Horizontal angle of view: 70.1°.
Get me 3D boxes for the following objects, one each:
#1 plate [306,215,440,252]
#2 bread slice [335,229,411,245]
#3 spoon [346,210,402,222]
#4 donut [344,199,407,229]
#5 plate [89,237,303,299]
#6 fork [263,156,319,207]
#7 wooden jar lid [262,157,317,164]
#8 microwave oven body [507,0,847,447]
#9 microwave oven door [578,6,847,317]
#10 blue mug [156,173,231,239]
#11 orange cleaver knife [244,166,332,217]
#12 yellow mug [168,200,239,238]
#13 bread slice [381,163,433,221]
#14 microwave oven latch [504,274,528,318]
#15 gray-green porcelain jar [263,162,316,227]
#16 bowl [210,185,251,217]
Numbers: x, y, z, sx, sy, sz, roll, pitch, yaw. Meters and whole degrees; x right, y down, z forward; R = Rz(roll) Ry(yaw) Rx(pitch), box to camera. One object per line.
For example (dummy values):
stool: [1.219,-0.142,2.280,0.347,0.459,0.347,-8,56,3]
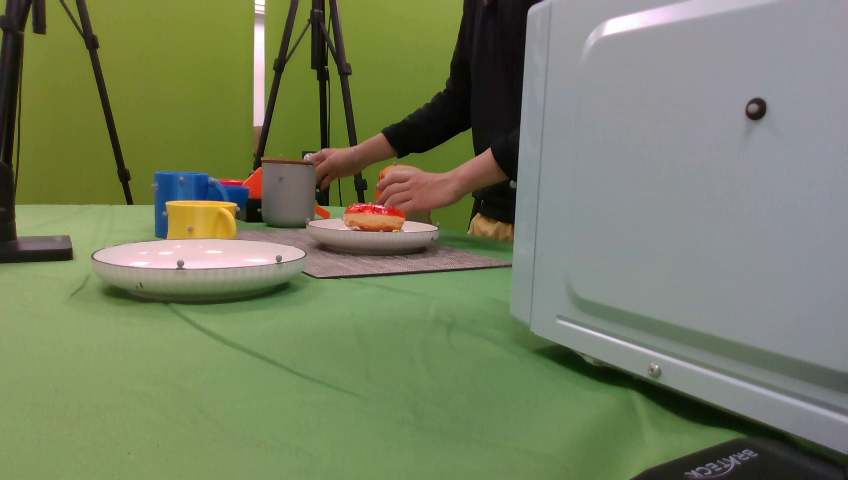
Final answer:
plate: [-0.079,-0.011,0.950,0.209,0.038,0.209,2,8,0]
bread slice: [-0.074,-0.005,0.938,0.105,0.019,0.131,-1,4,-19]
spoon: [-0.120,-0.059,1.400,0.042,0.021,0.192,-28,25,-38]
donut: [-0.076,-0.039,0.949,0.099,0.048,0.099,3,4,0]
plate: [-0.233,0.029,0.637,0.208,0.039,0.207,2,7,0]
fork: [-0.331,-0.144,1.505,0.207,0.018,0.028,-42,-21,22]
wooden jar lid: [-0.269,-0.154,1.208,0.108,0.020,0.108,3,4,0]
microwave oven body: [0.331,-0.042,0.425,0.444,0.260,0.324,-2,8,-31]
microwave oven door: [0.294,-0.067,0.570,0.358,0.243,0.039,-3,9,-31]
blue mug: [-0.381,-0.057,1.004,0.117,0.106,0.082,0,8,-12]
orange cleaver knife: [-0.301,-0.089,1.352,0.212,0.077,0.012,32,-9,-34]
yellow mug: [-0.320,-0.023,0.904,0.130,0.064,0.100,9,11,36]
bread slice: [-0.034,-0.076,1.122,0.107,0.134,0.018,-3,0,-27]
microwave oven latch: [0.100,0.041,0.471,0.079,0.029,0.030,-1,8,-28]
gray-green porcelain jar: [-0.271,-0.092,1.217,0.106,0.126,0.106,2,7,0]
bowl: [-0.408,-0.064,1.155,0.151,0.077,0.151,2,8,0]
